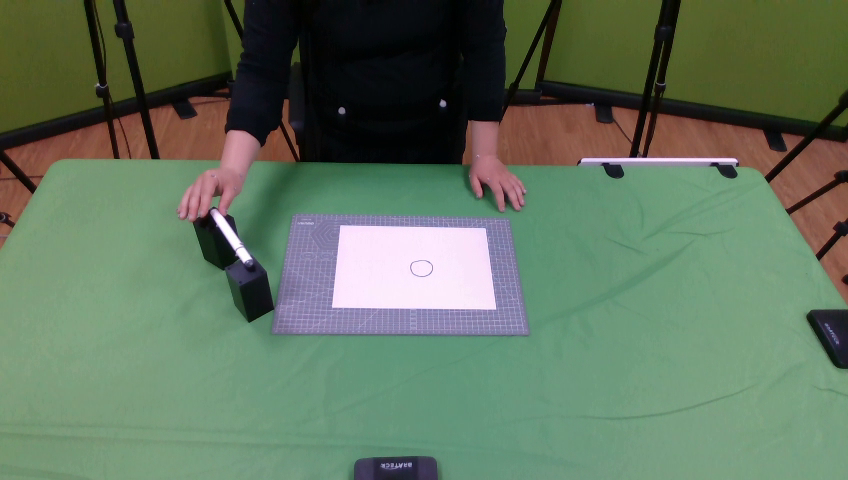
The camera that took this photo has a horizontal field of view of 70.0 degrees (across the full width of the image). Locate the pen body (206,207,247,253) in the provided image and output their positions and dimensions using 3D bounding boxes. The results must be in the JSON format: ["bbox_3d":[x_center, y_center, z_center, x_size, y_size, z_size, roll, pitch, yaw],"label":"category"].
[{"bbox_3d":[-0.336,-0.009,1.045,0.017,0.017,0.143,-29,57,-28],"label":"pen body"}]

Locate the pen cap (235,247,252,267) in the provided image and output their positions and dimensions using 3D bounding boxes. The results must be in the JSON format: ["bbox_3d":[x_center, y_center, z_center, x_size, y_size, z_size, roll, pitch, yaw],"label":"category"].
[{"bbox_3d":[-0.300,0.029,1.010,0.017,0.017,0.038,-26,55,-27],"label":"pen cap"}]
